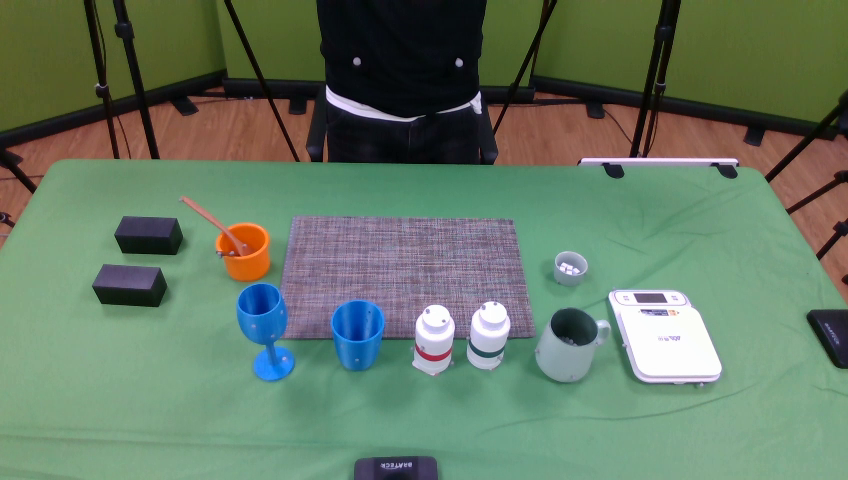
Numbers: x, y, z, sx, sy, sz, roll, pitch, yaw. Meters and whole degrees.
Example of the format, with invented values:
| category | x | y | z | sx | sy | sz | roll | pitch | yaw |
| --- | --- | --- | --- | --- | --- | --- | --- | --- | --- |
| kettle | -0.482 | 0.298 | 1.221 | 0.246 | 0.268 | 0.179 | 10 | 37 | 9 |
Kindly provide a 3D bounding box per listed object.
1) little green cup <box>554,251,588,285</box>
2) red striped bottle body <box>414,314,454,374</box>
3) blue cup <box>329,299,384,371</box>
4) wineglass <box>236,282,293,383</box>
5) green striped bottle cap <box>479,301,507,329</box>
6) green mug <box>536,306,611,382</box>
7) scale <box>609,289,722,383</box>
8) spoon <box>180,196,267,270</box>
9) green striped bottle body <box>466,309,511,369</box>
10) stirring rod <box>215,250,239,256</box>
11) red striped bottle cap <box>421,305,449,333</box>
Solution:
| category | x | y | z | sx | sy | sz | roll | pitch | yaw |
| --- | --- | --- | --- | --- | --- | --- | --- | --- | --- |
| little green cup | 0.276 | 0.055 | 1.151 | 0.061 | 0.039 | 0.061 | 1 | 47 | -1 |
| red striped bottle body | 0.016 | 0.158 | 0.977 | 0.063 | 0.120 | 0.062 | 1 | 46 | -1 |
| blue cup | -0.109 | 0.160 | 0.979 | 0.093 | 0.101 | 0.092 | 4 | 46 | -3 |
| wineglass | -0.243 | 0.143 | 0.934 | 0.074 | 0.173 | 0.073 | 2 | 46 | -2 |
| green striped bottle cap | 0.109 | 0.118 | 0.950 | 0.044 | 0.020 | 0.044 | 2 | 46 | -2 |
| green mug | 0.250 | 0.167 | 0.996 | 0.125 | 0.105 | 0.092 | -15 | 49 | -18 |
| scale | 0.419 | 0.159 | 1.066 | 0.149 | 0.032 | 0.199 | 1 | 46 | -4 |
| spoon | -0.360 | -0.014 | 1.094 | 0.021 | 0.194 | 0.041 | -27 | 26 | 31 |
| green striped bottle body | 0.105 | 0.154 | 0.988 | 0.063 | 0.120 | 0.063 | 2 | 46 | -2 |
| stirring rod | -0.339 | 0.024 | 1.059 | 0.014 | 0.176 | 0.006 | 16 | 86 | -6 |
| red striped bottle cap | 0.018 | 0.122 | 0.938 | 0.044 | 0.018 | 0.044 | 3 | 44 | -2 |
